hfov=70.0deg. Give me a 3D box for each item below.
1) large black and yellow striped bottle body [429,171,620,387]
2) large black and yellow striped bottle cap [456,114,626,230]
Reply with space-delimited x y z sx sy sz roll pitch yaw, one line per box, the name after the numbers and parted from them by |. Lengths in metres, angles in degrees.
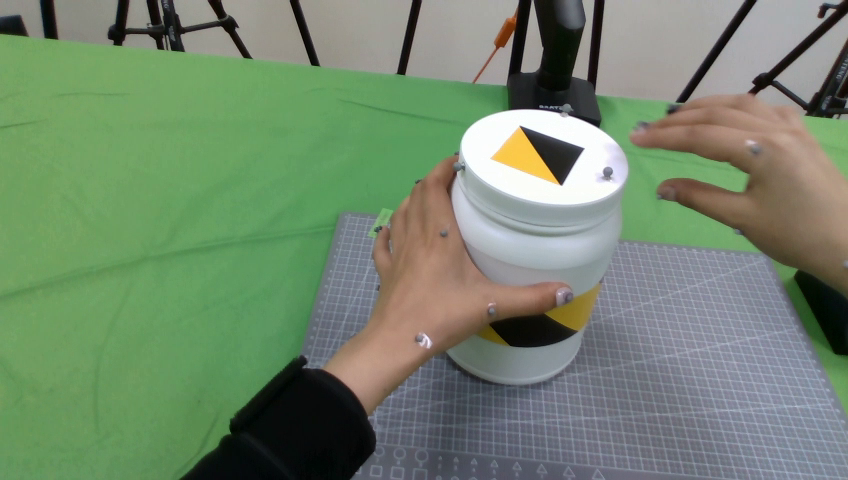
0.074 0.012 0.473 0.131 0.185 0.129 3 42 -2 | large black and yellow striped bottle body
0.079 -0.050 0.416 0.115 0.019 0.114 2 42 -2 | large black and yellow striped bottle cap
